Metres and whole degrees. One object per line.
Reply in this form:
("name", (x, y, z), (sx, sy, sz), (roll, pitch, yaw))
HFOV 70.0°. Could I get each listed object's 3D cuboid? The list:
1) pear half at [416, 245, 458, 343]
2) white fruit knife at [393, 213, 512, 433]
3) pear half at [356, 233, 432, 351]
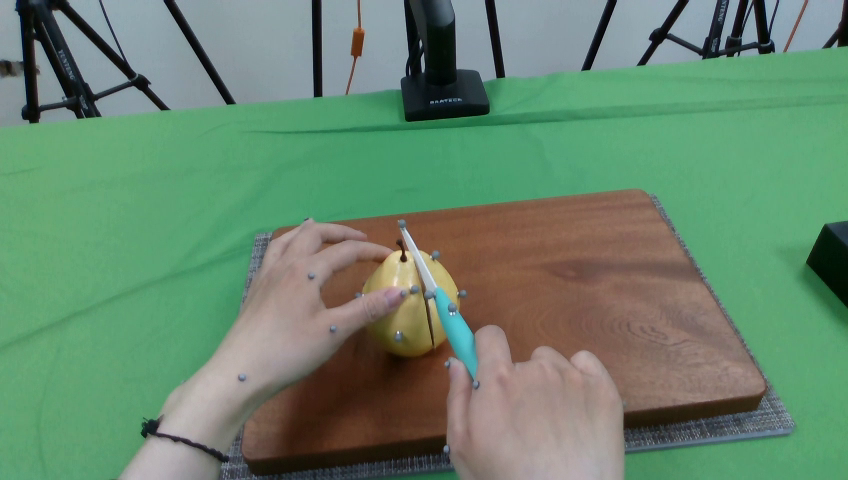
("pear half", (0.011, 0.040, 0.491), (0.031, 0.089, 0.069), (-11, 34, -13))
("white fruit knife", (0.011, 0.042, 0.426), (0.016, 0.028, 0.205), (-15, 43, -15))
("pear half", (-0.028, 0.039, 0.477), (0.056, 0.111, 0.075), (-16, 38, -6))
